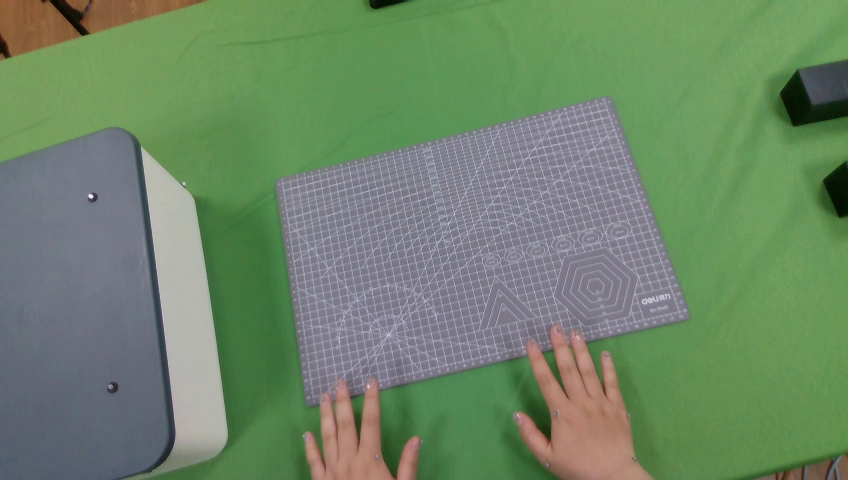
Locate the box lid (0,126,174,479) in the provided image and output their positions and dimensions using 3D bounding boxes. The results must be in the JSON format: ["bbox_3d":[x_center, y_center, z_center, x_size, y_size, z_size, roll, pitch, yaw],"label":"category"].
[{"bbox_3d":[-0.397,0.070,0.612,0.263,0.015,0.369,-17,72,2],"label":"box lid"}]

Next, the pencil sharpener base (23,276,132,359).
[{"bbox_3d":[-0.399,0.096,0.705,0.061,0.108,0.076,-18,73,0],"label":"pencil sharpener base"}]

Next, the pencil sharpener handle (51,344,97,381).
[{"bbox_3d":[-0.387,0.139,0.678,0.036,0.068,0.030,-16,72,-8],"label":"pencil sharpener handle"}]

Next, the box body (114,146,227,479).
[{"bbox_3d":[-0.388,0.096,0.682,0.254,0.161,0.361,-17,71,1],"label":"box body"}]
